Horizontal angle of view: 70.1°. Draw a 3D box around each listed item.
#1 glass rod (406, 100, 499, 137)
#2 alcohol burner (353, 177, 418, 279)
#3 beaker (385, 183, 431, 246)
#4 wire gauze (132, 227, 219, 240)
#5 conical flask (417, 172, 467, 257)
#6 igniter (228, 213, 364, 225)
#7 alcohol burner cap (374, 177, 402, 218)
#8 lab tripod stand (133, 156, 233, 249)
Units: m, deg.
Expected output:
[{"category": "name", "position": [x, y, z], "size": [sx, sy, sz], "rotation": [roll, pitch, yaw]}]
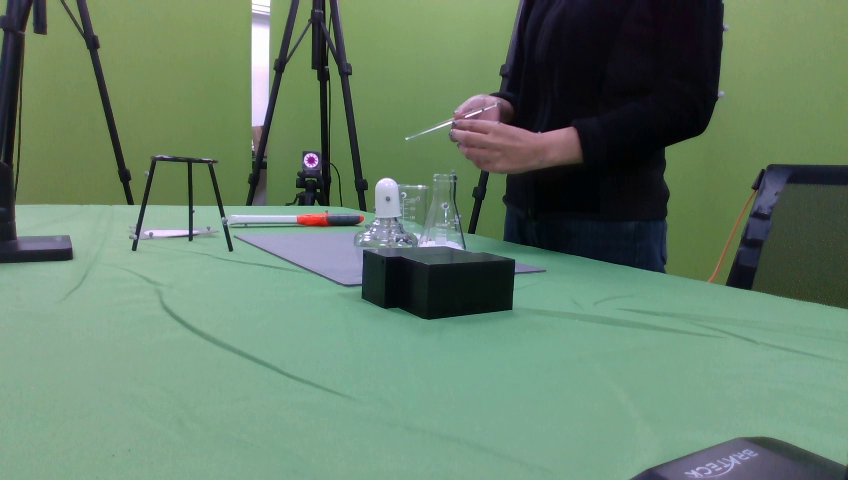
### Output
[{"category": "glass rod", "position": [0.043, -0.202, 1.011], "size": [0.199, 0.008, 0.008], "rotation": [-12, -4, 40]}, {"category": "alcohol burner", "position": [-0.044, -0.014, 0.710], "size": [0.078, 0.119, 0.078], "rotation": [4, 9, 0]}, {"category": "beaker", "position": [-0.031, -0.043, 1.000], "size": [0.084, 0.100, 0.074], "rotation": [4, 7, 15]}, {"category": "wire gauze", "position": [-0.421, -0.014, 1.024], "size": [0.122, 0.011, 0.124], "rotation": [-2, 7, -34]}, {"category": "conical flask", "position": [0.029, -0.039, 0.897], "size": [0.075, 0.122, 0.075], "rotation": [3, 8, 0]}, {"category": "igniter", "position": [-0.252, -0.043, 1.226], "size": [0.278, 0.025, 0.057], "rotation": [-2, -2, -32]}, {"category": "alcohol burner cap", "position": [-0.044, -0.049, 0.704], "size": [0.034, 0.048, 0.034], "rotation": [-5, 9, 1]}, {"category": "lab tripod stand", "position": [-0.342, -0.054, 0.878], "size": [0.148, 0.131, 0.148], "rotation": [4, 6, 0]}]
